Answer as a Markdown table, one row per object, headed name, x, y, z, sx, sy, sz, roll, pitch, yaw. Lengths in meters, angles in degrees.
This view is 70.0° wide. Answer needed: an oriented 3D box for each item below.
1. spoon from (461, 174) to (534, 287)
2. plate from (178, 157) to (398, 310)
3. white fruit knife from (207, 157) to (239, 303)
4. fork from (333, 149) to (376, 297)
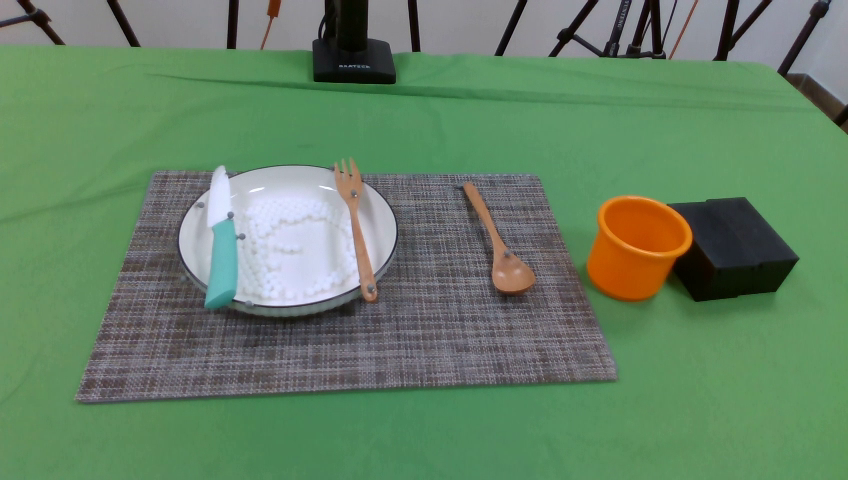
| name | x | y | z | sx | sy | sz | roll | pitch | yaw |
| --- | --- | --- | --- | --- | --- | --- | --- | --- | --- |
| spoon | 0.072 | -0.017 | 0.651 | 0.041 | 0.022 | 0.191 | -18 | 46 | -1 |
| plate | -0.130 | -0.008 | 0.601 | 0.209 | 0.038 | 0.207 | 4 | 43 | -4 |
| white fruit knife | -0.191 | -0.020 | 0.574 | 0.027 | 0.016 | 0.205 | -9 | 45 | -12 |
| fork | -0.068 | -0.024 | 0.596 | 0.028 | 0.019 | 0.205 | -11 | 44 | -6 |
